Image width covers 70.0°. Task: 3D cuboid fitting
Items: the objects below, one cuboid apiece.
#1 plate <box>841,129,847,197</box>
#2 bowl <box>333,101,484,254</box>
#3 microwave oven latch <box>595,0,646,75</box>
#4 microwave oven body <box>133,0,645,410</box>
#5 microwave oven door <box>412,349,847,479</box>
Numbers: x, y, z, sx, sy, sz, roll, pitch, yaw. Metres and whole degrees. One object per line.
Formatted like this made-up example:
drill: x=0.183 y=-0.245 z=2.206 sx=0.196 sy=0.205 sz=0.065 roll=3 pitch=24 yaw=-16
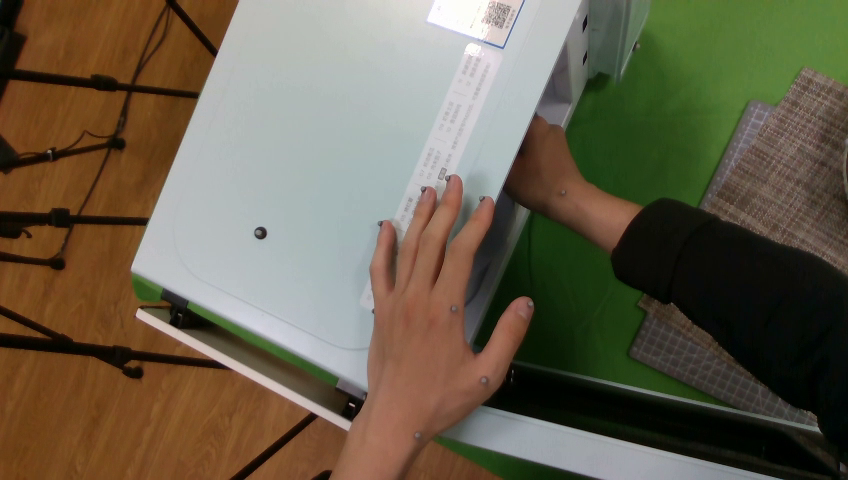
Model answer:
plate: x=0.505 y=-0.071 z=0.567 sx=0.208 sy=0.038 sz=0.208 roll=-1 pitch=86 yaw=14
bowl: x=-0.008 y=-0.057 z=0.617 sx=0.151 sy=0.077 sz=0.151 roll=-1 pitch=85 yaw=13
microwave oven latch: x=0.206 y=-0.218 z=0.637 sx=0.030 sy=0.029 sz=0.079 roll=24 pitch=94 yaw=14
microwave oven body: x=-0.018 y=-0.118 z=0.591 sx=0.324 sy=0.261 sz=0.442 roll=23 pitch=94 yaw=14
microwave oven door: x=0.189 y=0.160 z=0.519 sx=0.354 sy=0.245 sz=0.039 roll=9 pitch=89 yaw=15
